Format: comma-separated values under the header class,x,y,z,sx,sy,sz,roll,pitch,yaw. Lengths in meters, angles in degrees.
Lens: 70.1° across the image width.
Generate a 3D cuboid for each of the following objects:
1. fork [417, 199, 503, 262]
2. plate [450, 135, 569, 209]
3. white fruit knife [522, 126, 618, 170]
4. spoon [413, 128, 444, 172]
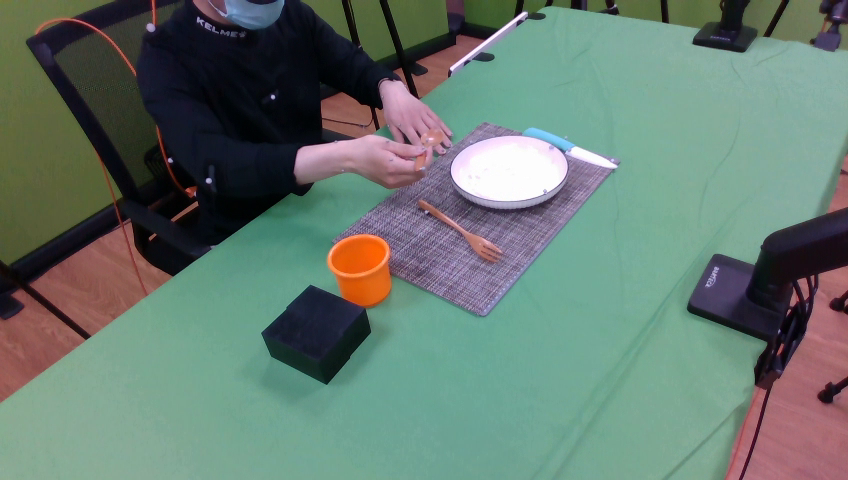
class,x,y,z,sx,sy,sz,roll,pitch,yaw
fork,0.053,-0.021,0.982,0.019,0.028,0.205,1,27,-41
plate,0.149,-0.117,1.065,0.209,0.038,0.208,-3,41,3
white fruit knife,0.272,-0.172,1.132,0.205,0.016,0.027,32,82,34
spoon,0.001,-0.147,0.972,0.041,0.022,0.193,-2,23,11
